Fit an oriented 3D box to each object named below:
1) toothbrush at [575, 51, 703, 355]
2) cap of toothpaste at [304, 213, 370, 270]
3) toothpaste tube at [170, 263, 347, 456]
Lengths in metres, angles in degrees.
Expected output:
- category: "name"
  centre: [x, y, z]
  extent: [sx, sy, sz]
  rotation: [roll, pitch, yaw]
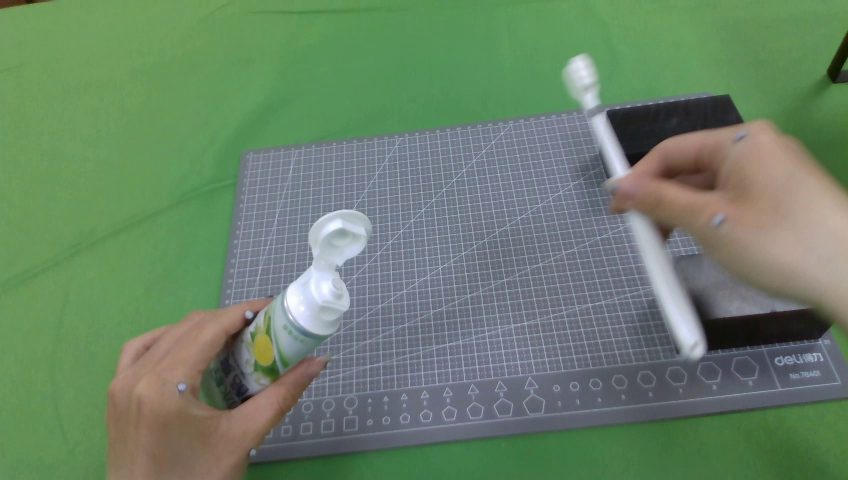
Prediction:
- category: "toothbrush"
  centre: [0.119, -0.025, 0.336]
  extent: [0.014, 0.017, 0.181]
  rotation: [-16, 77, -2]
- category: "cap of toothpaste"
  centre: [-0.046, 0.001, 0.323]
  extent: [0.037, 0.038, 0.011]
  rotation: [-20, 49, -6]
- category: "toothpaste tube"
  centre: [-0.100, 0.068, 0.354]
  extent: [0.165, 0.035, 0.054]
  rotation: [-42, 70, 27]
